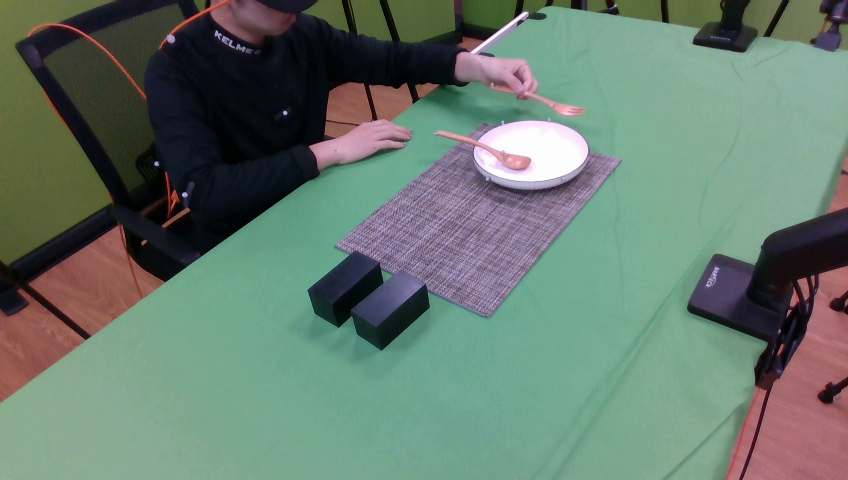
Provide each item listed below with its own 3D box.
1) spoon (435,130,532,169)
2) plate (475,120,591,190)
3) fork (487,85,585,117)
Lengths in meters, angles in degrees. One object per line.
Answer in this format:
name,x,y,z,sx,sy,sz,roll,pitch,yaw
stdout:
spoon,0.107,-0.171,1.112,0.193,0.022,0.041,25,52,15
plate,0.196,-0.151,1.099,0.207,0.039,0.206,-4,40,4
fork,0.213,-0.272,1.171,0.206,0.019,0.028,25,63,24
